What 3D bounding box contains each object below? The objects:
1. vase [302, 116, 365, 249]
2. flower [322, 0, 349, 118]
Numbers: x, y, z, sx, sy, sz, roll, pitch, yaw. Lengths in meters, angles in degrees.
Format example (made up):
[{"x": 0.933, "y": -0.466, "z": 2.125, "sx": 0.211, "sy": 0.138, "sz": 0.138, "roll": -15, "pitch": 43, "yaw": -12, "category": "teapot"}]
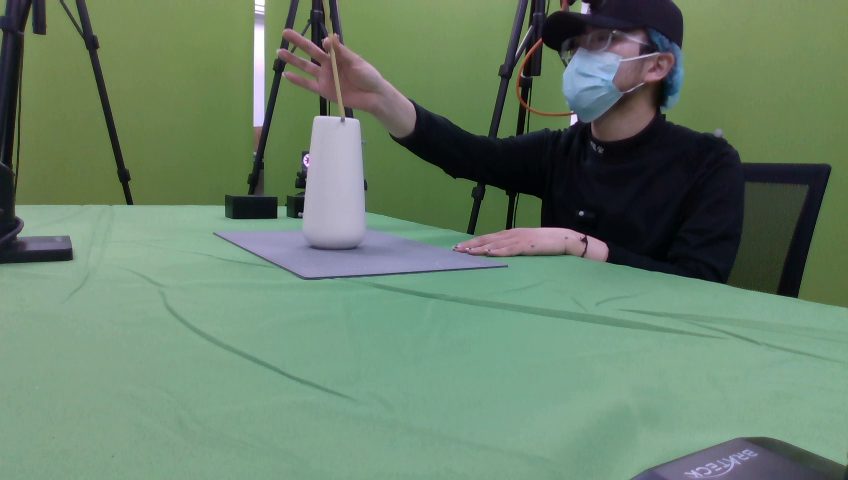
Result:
[{"x": -0.139, "y": -0.088, "z": 0.931, "sx": 0.098, "sy": 0.200, "sz": 0.098, "roll": 2, "pitch": 9, "yaw": 0, "category": "vase"}, {"x": -0.148, "y": -0.344, "z": 0.905, "sx": 0.044, "sy": 0.361, "sz": 0.038, "roll": -20, "pitch": 14, "yaw": -40, "category": "flower"}]
